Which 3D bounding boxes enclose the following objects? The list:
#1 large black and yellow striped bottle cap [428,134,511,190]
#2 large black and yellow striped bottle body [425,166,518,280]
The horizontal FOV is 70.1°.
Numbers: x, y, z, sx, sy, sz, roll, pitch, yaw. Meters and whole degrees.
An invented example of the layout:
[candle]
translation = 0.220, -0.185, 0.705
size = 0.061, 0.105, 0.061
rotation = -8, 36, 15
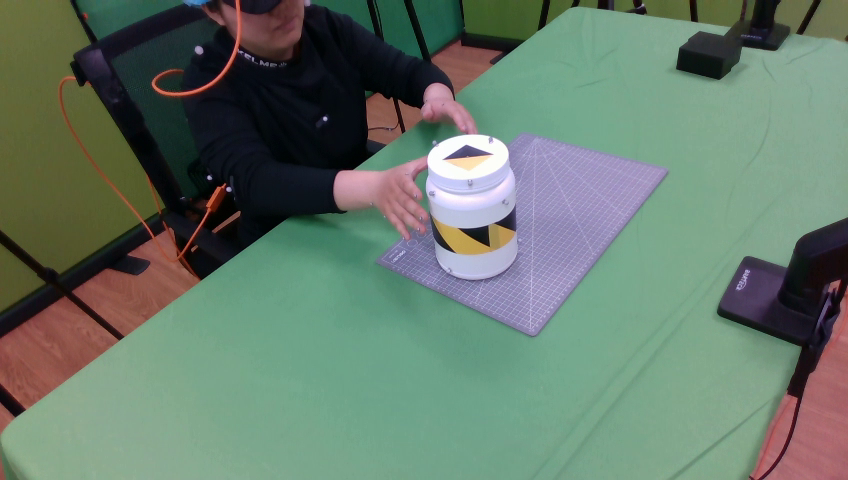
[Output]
[large black and yellow striped bottle cap]
translation = 0.062, -0.111, 0.840
size = 0.115, 0.019, 0.114
rotation = -5, 41, 5
[large black and yellow striped bottle body]
translation = 0.072, -0.047, 0.894
size = 0.131, 0.185, 0.130
rotation = -5, 40, 5
